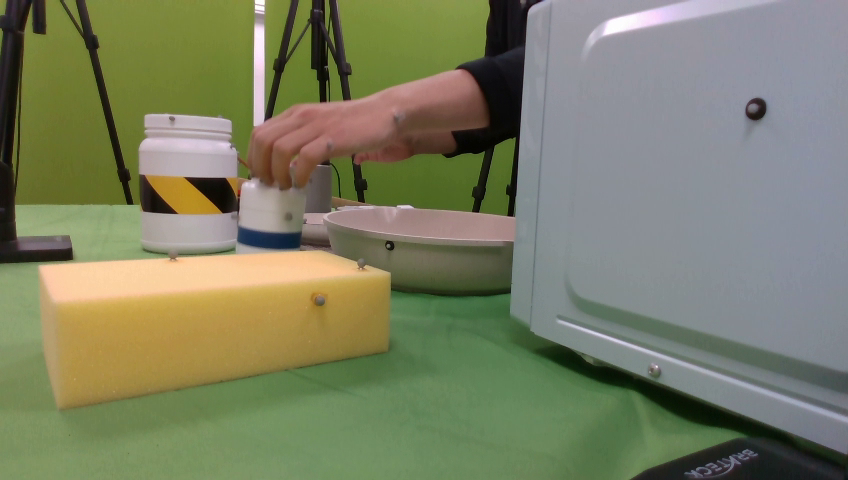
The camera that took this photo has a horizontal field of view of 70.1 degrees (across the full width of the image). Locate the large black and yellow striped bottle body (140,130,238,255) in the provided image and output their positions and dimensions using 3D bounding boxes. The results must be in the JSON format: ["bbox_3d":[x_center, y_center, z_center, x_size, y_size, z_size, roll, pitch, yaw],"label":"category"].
[{"bbox_3d":[-0.336,-0.078,0.871,0.131,0.184,0.130,2,8,0],"label":"large black and yellow striped bottle body"}]

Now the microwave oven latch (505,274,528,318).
[{"bbox_3d":[0.100,0.041,0.472,0.079,0.029,0.030,-2,8,-30],"label":"microwave oven latch"}]

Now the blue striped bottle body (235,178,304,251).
[{"bbox_3d":[-0.155,-0.019,0.606,0.063,0.120,0.063,7,7,-1],"label":"blue striped bottle body"}]

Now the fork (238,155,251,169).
[{"bbox_3d":[-0.396,-0.143,1.486,0.028,0.018,0.208,20,-26,45],"label":"fork"}]

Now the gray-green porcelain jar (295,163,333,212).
[{"bbox_3d":[-0.238,-0.092,1.221,0.106,0.126,0.106,2,7,0],"label":"gray-green porcelain jar"}]

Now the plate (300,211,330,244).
[{"bbox_3d":[-0.139,-0.022,1.021,0.209,0.038,0.209,2,8,0],"label":"plate"}]

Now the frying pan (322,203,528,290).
[{"bbox_3d":[0.109,-0.018,0.800,0.490,0.102,0.305,-12,16,-30],"label":"frying pan"}]

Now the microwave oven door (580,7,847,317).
[{"bbox_3d":[0.295,-0.067,0.570,0.358,0.243,0.039,-3,9,-31],"label":"microwave oven door"}]

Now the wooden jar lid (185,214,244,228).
[{"bbox_3d":[-0.404,-0.037,1.169,0.108,0.020,0.108,3,7,0],"label":"wooden jar lid"}]

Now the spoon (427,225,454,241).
[{"bbox_3d":[0.024,-0.018,1.125,0.042,0.021,0.193,-16,10,-4],"label":"spoon"}]

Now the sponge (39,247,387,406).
[{"bbox_3d":[-0.142,0.047,0.420,0.208,0.061,0.117,-3,9,-36],"label":"sponge"}]

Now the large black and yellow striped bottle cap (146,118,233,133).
[{"bbox_3d":[-0.333,-0.163,0.861,0.115,0.019,0.115,1,9,0],"label":"large black and yellow striped bottle cap"}]

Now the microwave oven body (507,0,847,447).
[{"bbox_3d":[0.331,-0.042,0.425,0.444,0.260,0.324,-2,8,-31],"label":"microwave oven body"}]

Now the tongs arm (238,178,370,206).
[{"bbox_3d":[-0.241,-0.095,1.373,0.387,0.026,0.050,9,-1,-37],"label":"tongs arm"}]

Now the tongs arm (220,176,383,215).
[{"bbox_3d":[-0.285,-0.103,1.445,0.389,0.027,0.028,9,-4,-23],"label":"tongs arm"}]

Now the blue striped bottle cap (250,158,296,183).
[{"bbox_3d":[-0.149,-0.069,0.599,0.044,0.020,0.044,8,5,0],"label":"blue striped bottle cap"}]

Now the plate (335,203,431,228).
[{"bbox_3d":[-0.089,-0.053,1.309,0.208,0.039,0.207,2,8,0],"label":"plate"}]
